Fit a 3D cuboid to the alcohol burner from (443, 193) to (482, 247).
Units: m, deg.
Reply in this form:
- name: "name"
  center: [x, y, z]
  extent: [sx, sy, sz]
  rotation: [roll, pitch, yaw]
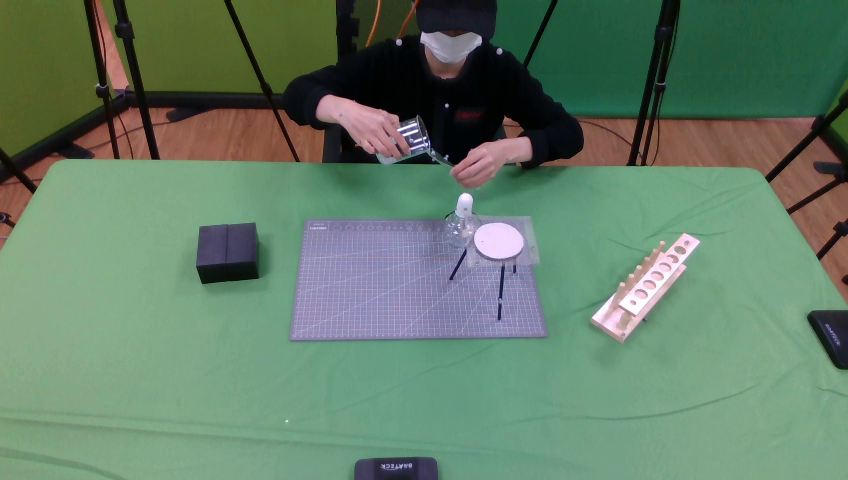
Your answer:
- name: "alcohol burner"
  center: [0.075, -0.044, 1.177]
  extent: [0.078, 0.120, 0.077]
  rotation: [2, 44, -1]

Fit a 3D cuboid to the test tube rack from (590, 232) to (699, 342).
- name: "test tube rack"
  center: [0.407, 0.074, 1.112]
  extent: [0.066, 0.085, 0.242]
  rotation: [35, 53, 26]

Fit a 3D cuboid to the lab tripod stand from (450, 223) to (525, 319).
- name: "lab tripod stand"
  center: [0.120, 0.046, 1.080]
  extent: [0.148, 0.132, 0.147]
  rotation: [1, 47, -1]

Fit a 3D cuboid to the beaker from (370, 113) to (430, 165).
- name: "beaker"
  center: [-0.046, -0.190, 1.173]
  extent: [0.100, 0.084, 0.073]
  rotation: [-17, 36, 12]

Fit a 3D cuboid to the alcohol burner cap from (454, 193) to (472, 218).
- name: "alcohol burner cap"
  center: [0.076, -0.068, 1.151]
  extent: [0.034, 0.048, 0.033]
  rotation: [4, 47, -4]

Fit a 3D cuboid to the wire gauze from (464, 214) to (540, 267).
- name: "wire gauze"
  center: [0.131, -0.002, 1.034]
  extent: [0.121, 0.011, 0.124]
  rotation: [1, 45, -2]

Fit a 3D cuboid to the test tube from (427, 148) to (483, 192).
- name: "test tube"
  center: [0.064, -0.140, 1.223]
  extent: [0.151, 0.017, 0.017]
  rotation: [33, 37, -30]
